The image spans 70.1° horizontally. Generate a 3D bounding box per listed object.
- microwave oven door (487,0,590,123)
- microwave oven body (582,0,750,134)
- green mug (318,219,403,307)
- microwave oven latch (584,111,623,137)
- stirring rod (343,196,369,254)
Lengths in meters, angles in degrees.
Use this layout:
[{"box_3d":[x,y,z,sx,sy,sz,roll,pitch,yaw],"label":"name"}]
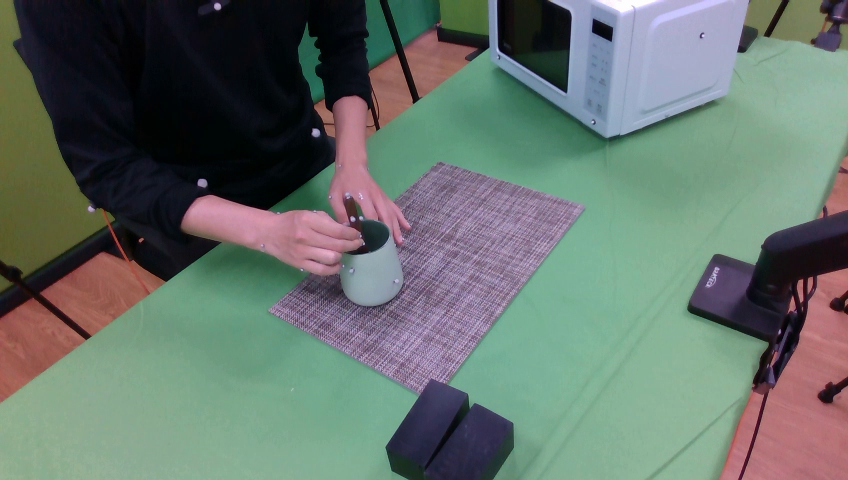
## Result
[{"box_3d":[0.232,-0.420,1.230,0.039,0.245,0.352,-22,43,-16],"label":"microwave oven door"},{"box_3d":[0.382,-0.445,1.246,0.327,0.261,0.437,-22,42,-16],"label":"microwave oven body"},{"box_3d":[-0.096,0.032,0.876,0.125,0.105,0.092,8,43,17],"label":"green mug"},{"box_3d":[0.337,-0.222,1.142,0.030,0.029,0.078,-21,42,-14],"label":"microwave oven latch"},{"box_3d":[-0.084,0.007,0.815,0.014,0.177,0.005,-26,48,-15],"label":"stirring rod"}]
